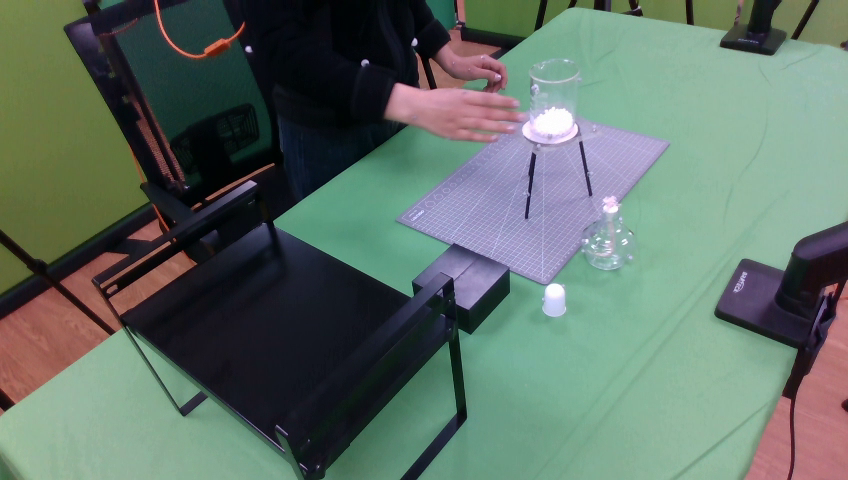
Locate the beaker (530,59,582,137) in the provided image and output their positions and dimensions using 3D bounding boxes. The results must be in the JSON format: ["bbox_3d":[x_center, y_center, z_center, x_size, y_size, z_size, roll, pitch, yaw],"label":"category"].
[{"bbox_3d":[0.198,-0.217,0.932,0.074,0.101,0.083,-22,43,-16],"label":"beaker"}]

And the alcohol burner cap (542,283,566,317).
[{"bbox_3d":[0.181,0.081,0.839,0.034,0.048,0.033,-3,41,3],"label":"alcohol burner cap"}]

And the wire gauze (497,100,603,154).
[{"bbox_3d":[0.199,-0.179,0.963,0.125,0.011,0.120,-21,42,-12],"label":"wire gauze"}]

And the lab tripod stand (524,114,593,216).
[{"bbox_3d":[0.210,-0.127,1.001,0.148,0.132,0.147,-4,43,4],"label":"lab tripod stand"}]

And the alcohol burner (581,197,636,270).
[{"bbox_3d":[0.270,-0.015,0.882,0.078,0.119,0.077,-5,42,5],"label":"alcohol burner"}]
